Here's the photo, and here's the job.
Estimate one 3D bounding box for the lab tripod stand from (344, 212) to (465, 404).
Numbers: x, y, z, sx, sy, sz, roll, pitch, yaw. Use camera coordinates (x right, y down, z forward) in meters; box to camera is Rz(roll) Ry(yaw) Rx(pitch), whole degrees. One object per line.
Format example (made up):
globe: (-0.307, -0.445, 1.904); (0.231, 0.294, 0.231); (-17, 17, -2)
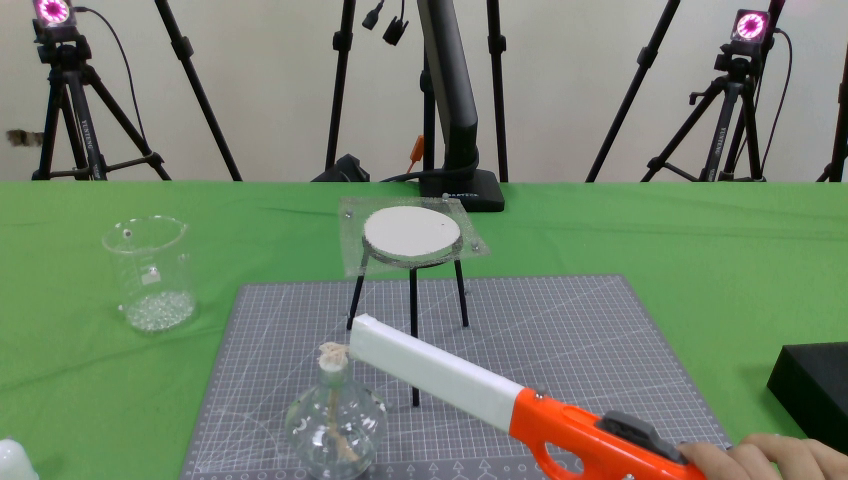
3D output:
lab tripod stand: (-0.013, 0.054, 0.563); (0.148, 0.132, 0.147); (3, 32, -2)

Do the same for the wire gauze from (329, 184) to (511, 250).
wire gauze: (-0.006, -0.020, 0.524); (0.125, 0.011, 0.120); (-8, 27, -30)

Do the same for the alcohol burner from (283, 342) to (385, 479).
alcohol burner: (-0.068, 0.124, 0.459); (0.078, 0.120, 0.077); (3, 30, -2)

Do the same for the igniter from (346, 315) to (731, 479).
igniter: (0.063, 0.107, 0.355); (0.274, 0.057, 0.025); (20, 21, 30)

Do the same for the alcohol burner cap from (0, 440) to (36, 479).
alcohol burner cap: (-0.309, 0.169, 0.443); (0.034, 0.048, 0.033); (3, 29, -1)

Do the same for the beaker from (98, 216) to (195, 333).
beaker: (-0.274, 0.035, 0.615); (0.073, 0.101, 0.084); (28, 39, 36)
